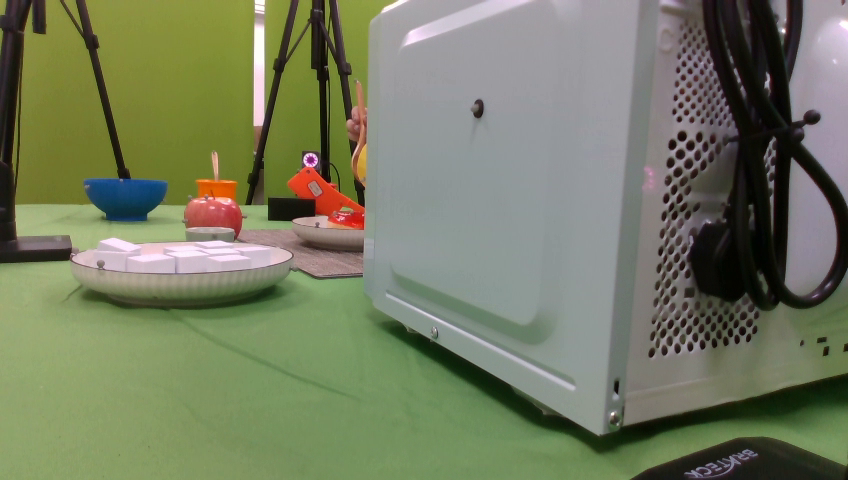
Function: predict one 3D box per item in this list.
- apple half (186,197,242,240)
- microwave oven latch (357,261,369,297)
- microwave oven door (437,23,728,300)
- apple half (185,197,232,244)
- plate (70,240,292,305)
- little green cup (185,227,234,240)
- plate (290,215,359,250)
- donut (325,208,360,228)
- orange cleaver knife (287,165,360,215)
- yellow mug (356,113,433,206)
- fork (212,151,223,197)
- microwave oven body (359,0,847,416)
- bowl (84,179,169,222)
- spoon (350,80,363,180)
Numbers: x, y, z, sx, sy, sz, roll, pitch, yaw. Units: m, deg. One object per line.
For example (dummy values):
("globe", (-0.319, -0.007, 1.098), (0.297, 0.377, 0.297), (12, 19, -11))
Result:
("apple half", (-0.306, -0.026, 0.904), (0.053, 0.074, 0.081), (14, 9, 37))
("microwave oven latch", (-0.019, 0.033, 0.530), (0.079, 0.029, 0.030), (-1, 7, -26))
("microwave oven door", (0.181, -0.072, 0.621), (0.358, 0.243, 0.039), (-2, 8, -29))
("apple half", (-0.337, -0.031, 0.927), (0.032, 0.081, 0.082), (13, 12, 37))
("plate", (-0.242, 0.031, 0.618), (0.208, 0.039, 0.207), (2, 8, 0))
("little green cup", (-0.285, 0.005, 0.805), (0.061, 0.038, 0.061), (2, 8, 0))
("plate", (-0.110, -0.014, 0.973), (0.209, 0.038, 0.209), (2, 8, 0))
("donut", (-0.110, -0.025, 0.974), (0.099, 0.048, 0.099), (5, 7, 0))
("orange cleaver knife", (-0.211, -0.093, 1.382), (0.212, 0.077, 0.012), (33, 1, -15))
("yellow mug", (-0.041, -0.123, 0.899), (0.100, 0.131, 0.063), (-11, 33, -35))
("fork", (-0.494, -0.143, 1.442), (0.028, 0.018, 0.206), (-2, 52, -20))
("microwave oven body", (0.211, -0.047, 0.474), (0.444, 0.260, 0.324), (-1, 7, -28))
("bowl", (-0.584, -0.078, 1.194), (0.151, 0.077, 0.151), (3, 8, 0))
("spoon", (-0.105, -0.180, 0.990), (0.021, 0.193, 0.042), (-14, -24, 32))
